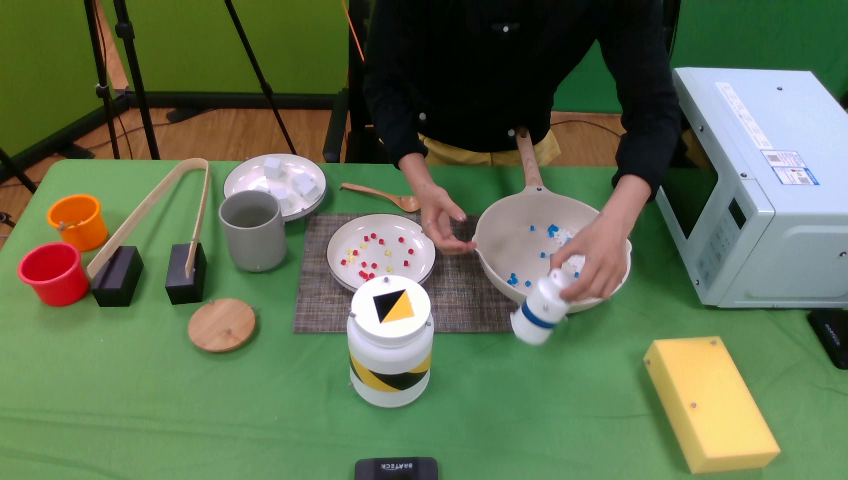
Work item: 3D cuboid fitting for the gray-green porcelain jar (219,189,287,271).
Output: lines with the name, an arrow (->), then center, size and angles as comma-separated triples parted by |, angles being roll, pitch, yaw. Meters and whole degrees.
gray-green porcelain jar -> -0.310, -0.014, 1.113 | 0.106, 0.127, 0.105 | 2, 46, -2

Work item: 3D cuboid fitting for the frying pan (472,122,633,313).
frying pan -> 0.235, -0.061, 1.207 | 0.307, 0.103, 0.484 | 2, 55, -6

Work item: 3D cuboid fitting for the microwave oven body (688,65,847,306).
microwave oven body -> 0.669, -0.111, 1.176 | 0.326, 0.261, 0.439 | 0, 46, -3

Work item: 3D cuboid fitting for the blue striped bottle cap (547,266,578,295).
blue striped bottle cap -> 0.208, 0.060, 0.907 | 0.045, 0.021, 0.044 | 12, 47, -14

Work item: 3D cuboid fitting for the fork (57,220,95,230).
fork -> -0.624, -0.027, 1.087 | 0.028, 0.207, 0.018 | -3, 92, -17

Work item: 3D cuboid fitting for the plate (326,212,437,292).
plate -> -0.080, 0.030, 1.143 | 0.209, 0.038, 0.208 | 2, 46, -2

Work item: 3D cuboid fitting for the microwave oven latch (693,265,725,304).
microwave oven latch -> 0.523, 0.081, 1.116 | 0.030, 0.029, 0.078 | 2, 46, -1

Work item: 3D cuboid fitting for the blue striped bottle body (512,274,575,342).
blue striped bottle body -> 0.189, 0.098, 0.938 | 0.063, 0.121, 0.062 | 15, 39, -13

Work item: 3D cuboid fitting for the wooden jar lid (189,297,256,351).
wooden jar lid -> -0.342, 0.145, 1.033 | 0.108, 0.021, 0.107 | 2, 45, -2

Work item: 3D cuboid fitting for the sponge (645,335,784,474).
sponge -> 0.449, 0.253, 0.956 | 0.118, 0.061, 0.205 | -4, 46, -7

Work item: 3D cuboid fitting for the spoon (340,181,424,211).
spoon -> -0.090, -0.100, 1.282 | 0.193, 0.022, 0.041 | 18, 65, 13

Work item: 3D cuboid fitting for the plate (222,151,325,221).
plate -> -0.310, -0.106, 1.263 | 0.208, 0.039, 0.206 | 2, 47, -2

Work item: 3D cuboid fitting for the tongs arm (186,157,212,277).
tongs arm -> -0.445, -0.058, 1.168 | 0.051, 0.026, 0.382 | -4, 37, -6

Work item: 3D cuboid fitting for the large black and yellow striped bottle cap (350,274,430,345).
large black and yellow striped bottle cap -> -0.048, 0.097, 0.868 | 0.115, 0.019, 0.114 | 3, 48, -3

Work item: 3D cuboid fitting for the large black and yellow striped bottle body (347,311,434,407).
large black and yellow striped bottle body -> -0.052, 0.157, 0.929 | 0.131, 0.185, 0.130 | 2, 47, -2

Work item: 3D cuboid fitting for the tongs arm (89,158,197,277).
tongs arm -> -0.530, -0.058, 1.163 | 0.028, 0.028, 0.385 | 1, 36, 7

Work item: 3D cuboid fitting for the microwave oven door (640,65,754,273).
microwave oven door -> 0.523, -0.147, 1.193 | 0.039, 0.245, 0.353 | 0, 47, -3
